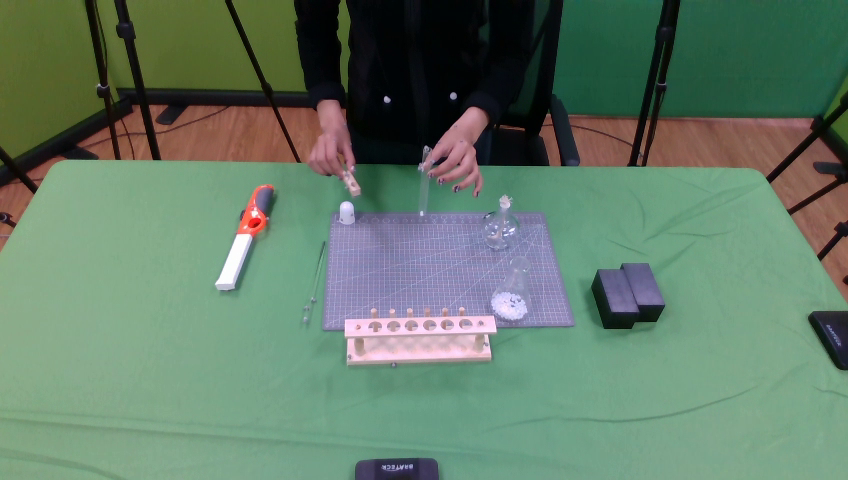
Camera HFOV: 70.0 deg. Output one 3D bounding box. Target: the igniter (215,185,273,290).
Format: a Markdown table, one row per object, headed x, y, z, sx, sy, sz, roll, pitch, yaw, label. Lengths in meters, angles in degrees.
| x | y | z | sx | sy | sz | roll | pitch | yaw | label |
| --- | --- | --- | --- | --- | --- | --- | --- | --- | --- |
| -0.348 | -0.014 | 1.182 | 0.057 | 0.025 | 0.275 | -1 | 45 | 8 | igniter |

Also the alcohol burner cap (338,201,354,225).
| x | y | z | sx | sy | sz | roll | pitch | yaw | label |
| --- | --- | --- | --- | --- | --- | --- | --- | --- | --- |
| -0.159 | -0.056 | 1.224 | 0.034 | 0.048 | 0.033 | 2 | 47 | -2 | alcohol burner cap |

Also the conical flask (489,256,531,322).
| x | y | z | sx | sy | sz | roll | pitch | yaw | label |
| --- | --- | --- | --- | --- | --- | --- | --- | --- | --- |
| 0.158 | 0.081 | 1.061 | 0.075 | 0.122 | 0.075 | 2 | 46 | -2 | conical flask |

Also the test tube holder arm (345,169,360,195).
| x | y | z | sx | sy | sz | roll | pitch | yaw | label |
| --- | --- | --- | --- | --- | --- | --- | --- | --- | --- |
| -0.143 | -0.113 | 1.177 | 0.010 | 0.015 | 0.087 | -7 | 36 | -24 | test tube holder arm |

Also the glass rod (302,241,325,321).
| x | y | z | sx | sy | sz | roll | pitch | yaw | label |
| --- | --- | --- | --- | --- | --- | --- | --- | --- | --- |
| -0.204 | 0.072 | 1.124 | 0.008 | 0.008 | 0.198 | 4 | 43 | 1 | glass rod |

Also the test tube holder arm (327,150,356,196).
| x | y | z | sx | sy | sz | roll | pitch | yaw | label |
| --- | --- | --- | --- | --- | --- | --- | --- | --- | --- |
| -0.166 | -0.137 | 1.208 | 0.013 | 0.015 | 0.177 | -8 | 36 | -25 | test tube holder arm |

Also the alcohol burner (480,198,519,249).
| x | y | z | sx | sy | sz | roll | pitch | yaw | label |
| --- | --- | --- | --- | --- | --- | --- | --- | --- | --- |
| 0.150 | -0.039 | 1.182 | 0.078 | 0.119 | 0.077 | 3 | 47 | -3 | alcohol burner |

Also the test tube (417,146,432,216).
| x | y | z | sx | sy | sz | roll | pitch | yaw | label |
| --- | --- | --- | --- | --- | --- | --- | --- | --- | --- |
| -0.001 | -0.100 | 1.065 | 0.017 | 0.151 | 0.017 | 3 | 44 | -3 | test tube |

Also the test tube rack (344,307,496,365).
| x | y | z | sx | sy | sz | roll | pitch | yaw | label |
| --- | --- | --- | --- | --- | --- | --- | --- | --- | --- |
| -0.009 | 0.154 | 1.007 | 0.242 | 0.085 | 0.066 | -1 | 46 | -5 | test tube rack |
